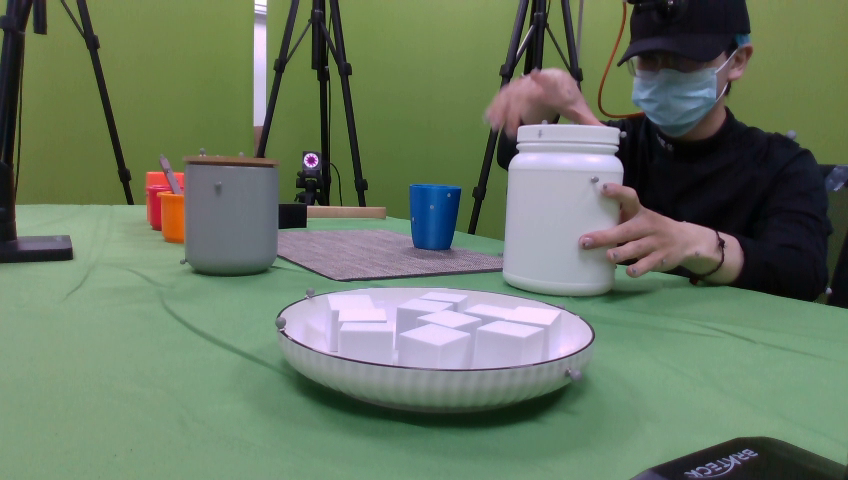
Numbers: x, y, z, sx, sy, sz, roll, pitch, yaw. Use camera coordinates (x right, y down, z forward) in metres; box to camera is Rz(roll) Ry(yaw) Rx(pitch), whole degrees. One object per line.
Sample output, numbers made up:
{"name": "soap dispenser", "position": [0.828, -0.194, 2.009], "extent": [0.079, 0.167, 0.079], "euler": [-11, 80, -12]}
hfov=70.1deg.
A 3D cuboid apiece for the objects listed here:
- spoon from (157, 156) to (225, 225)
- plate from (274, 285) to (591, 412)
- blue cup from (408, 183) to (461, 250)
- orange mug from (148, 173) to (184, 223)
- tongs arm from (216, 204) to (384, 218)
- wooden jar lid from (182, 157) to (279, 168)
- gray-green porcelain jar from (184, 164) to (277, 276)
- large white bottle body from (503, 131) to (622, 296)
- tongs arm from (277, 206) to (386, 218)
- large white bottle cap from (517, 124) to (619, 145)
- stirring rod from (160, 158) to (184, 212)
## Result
{"name": "spoon", "position": [-0.425, -0.094, 1.117], "extent": [0.041, 0.022, 0.194], "euler": [5, 51, 29]}
{"name": "plate", "position": [0.005, 0.069, 0.408], "extent": [0.208, 0.039, 0.207], "euler": [2, 7, 0]}
{"name": "blue cup", "position": [0.015, -0.038, 0.970], "extent": [0.093, 0.100, 0.092], "euler": [2, 9, 0]}
{"name": "orange mug", "position": [-0.490, -0.087, 1.222], "extent": [0.127, 0.101, 0.083], "euler": [-9, 13, -38]}
{"name": "tongs arm", "position": [-0.288, -0.069, 1.435], "extent": [0.389, 0.027, 0.028], "euler": [0, -1, -17]}
{"name": "wooden jar lid", "position": [-0.227, -0.086, 0.714], "extent": [0.108, 0.020, 0.108], "euler": [0, 6, 0]}
{"name": "gray-green porcelain jar", "position": [-0.230, -0.025, 0.722], "extent": [0.106, 0.126, 0.106], "euler": [3, 7, 0]}
{"name": "large white bottle body", "position": [0.160, -0.037, 0.706], "extent": [0.131, 0.184, 0.130], "euler": [2, 8, 0]}
{"name": "tongs arm", "position": [-0.251, -0.063, 1.360], "extent": [0.387, 0.026, 0.050], "euler": [-1, 3, -31]}
{"name": "large white bottle cap", "position": [0.165, -0.121, 0.695], "extent": [0.115, 0.018, 0.115], "euler": [3, 8, 0]}
{"name": "stirring rod", "position": [-0.391, -0.070, 0.972], "extent": [0.014, 0.006, 0.175], "euler": [-1, 50, -49]}
